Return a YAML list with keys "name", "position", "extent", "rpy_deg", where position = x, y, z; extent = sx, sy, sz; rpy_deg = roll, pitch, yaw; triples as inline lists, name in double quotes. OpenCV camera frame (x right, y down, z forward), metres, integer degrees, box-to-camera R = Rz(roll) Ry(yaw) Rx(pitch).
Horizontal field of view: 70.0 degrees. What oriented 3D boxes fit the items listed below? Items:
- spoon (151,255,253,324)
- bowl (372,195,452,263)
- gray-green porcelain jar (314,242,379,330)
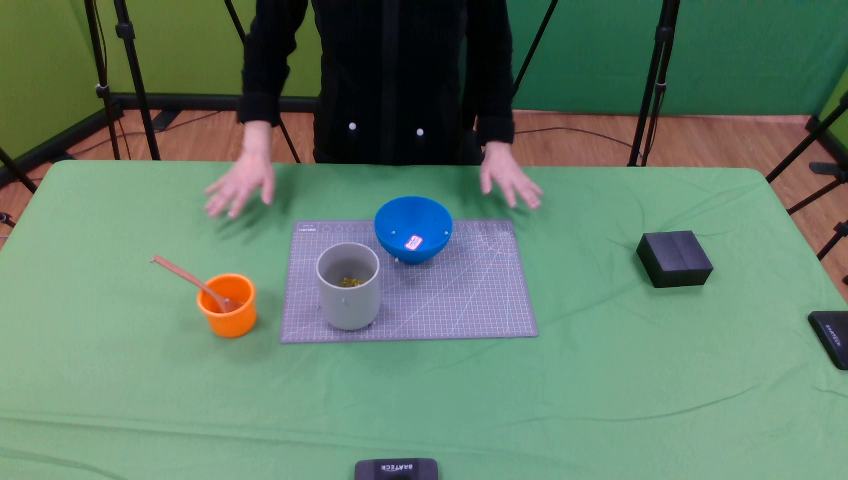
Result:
- name: "spoon"
  position: [-0.365, 0.080, 1.004]
  extent: [0.021, 0.195, 0.041]
  rpy_deg: [-28, 32, 33]
- name: "bowl"
  position: [-0.023, -0.008, 1.161]
  extent: [0.151, 0.077, 0.150]
  rpy_deg: [2, 46, -2]
- name: "gray-green porcelain jar"
  position: [-0.129, 0.083, 1.031]
  extent: [0.106, 0.127, 0.105]
  rpy_deg: [2, 46, -2]
